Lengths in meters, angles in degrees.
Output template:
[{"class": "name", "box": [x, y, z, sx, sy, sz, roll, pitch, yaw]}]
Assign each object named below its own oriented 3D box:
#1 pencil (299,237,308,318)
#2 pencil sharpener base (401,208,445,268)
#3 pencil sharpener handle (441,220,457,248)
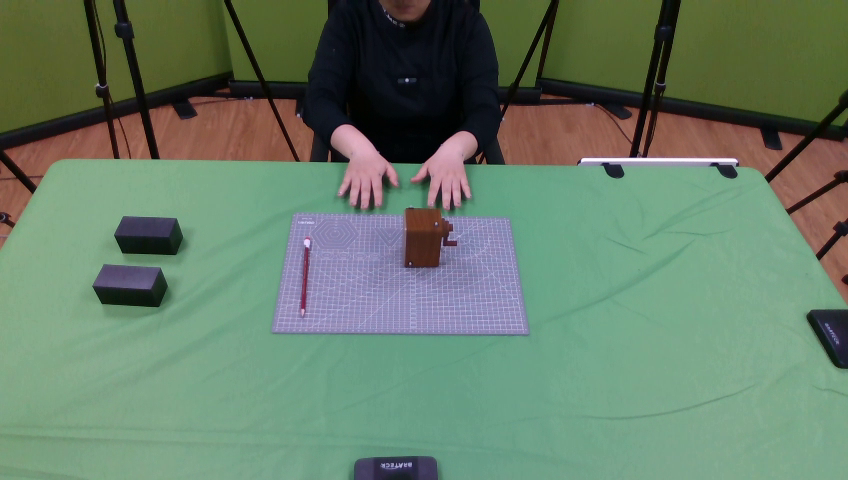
[{"class": "pencil", "box": [-0.223, 0.066, 1.120, 0.012, 0.012, 0.192, -1, 47, -6]}, {"class": "pencil sharpener base", "box": [-0.003, -0.003, 1.137, 0.077, 0.107, 0.061, 0, 45, -5]}, {"class": "pencil sharpener handle", "box": [0.049, -0.011, 1.132, 0.031, 0.068, 0.036, 0, 46, -5]}]
